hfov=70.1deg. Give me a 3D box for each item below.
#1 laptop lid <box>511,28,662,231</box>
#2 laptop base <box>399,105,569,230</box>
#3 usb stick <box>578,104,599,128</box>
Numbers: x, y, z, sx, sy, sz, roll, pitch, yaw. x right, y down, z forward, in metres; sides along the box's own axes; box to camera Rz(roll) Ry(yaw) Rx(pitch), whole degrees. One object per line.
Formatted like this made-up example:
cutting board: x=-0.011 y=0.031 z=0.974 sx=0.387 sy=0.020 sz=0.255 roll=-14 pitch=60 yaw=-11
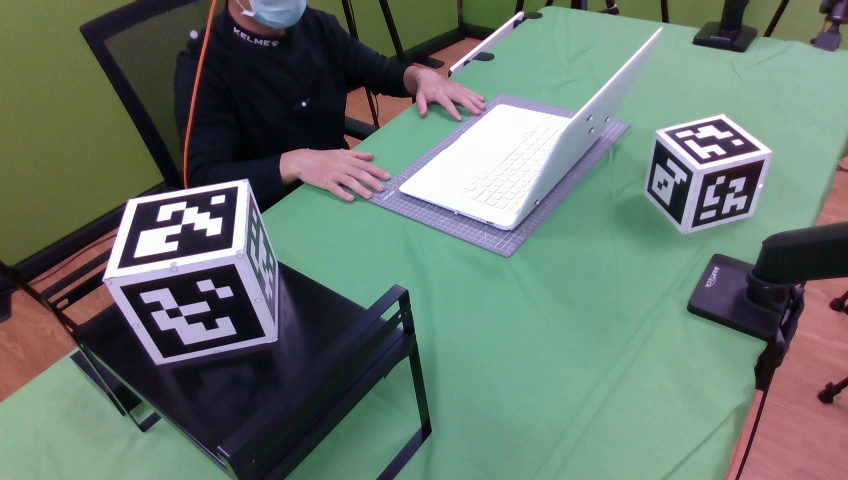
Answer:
laptop lid: x=0.264 y=-0.179 z=0.972 sx=0.013 sy=0.242 sz=0.357 roll=36 pitch=53 yaw=14
laptop base: x=0.149 y=-0.147 z=1.123 sx=0.233 sy=0.023 sz=0.355 roll=20 pitch=47 yaw=32
usb stick: x=0.322 y=-0.242 z=1.189 sx=0.021 sy=0.027 sz=0.059 roll=24 pitch=53 yaw=30
